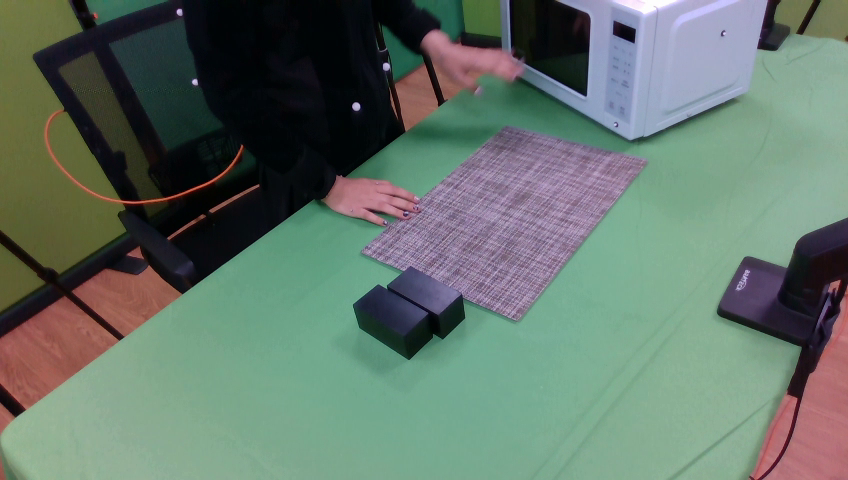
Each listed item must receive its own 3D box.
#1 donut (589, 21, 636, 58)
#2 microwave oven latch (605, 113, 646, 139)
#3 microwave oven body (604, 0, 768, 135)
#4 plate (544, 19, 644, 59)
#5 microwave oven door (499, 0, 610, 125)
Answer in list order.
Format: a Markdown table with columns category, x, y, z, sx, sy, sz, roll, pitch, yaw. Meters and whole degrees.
| category | x | y | z | sx | sy | sz | roll | pitch | yaw |
| --- | --- | --- | --- | --- | --- | --- | --- | --- | --- |
| donut | 0.403 | -0.429 | 1.295 | 0.099 | 0.048 | 0.098 | 1 | 54 | -1 |
| microwave oven latch | 0.375 | -0.217 | 1.130 | 0.030 | 0.029 | 0.078 | -24 | 42 | -16 |
| microwave oven body | 0.411 | -0.441 | 1.235 | 0.327 | 0.261 | 0.437 | -25 | 42 | -16 |
| plate | 0.358 | -0.428 | 1.291 | 0.209 | 0.038 | 0.208 | 1 | 34 | 0 |
| microwave oven door | 0.261 | -0.410 | 1.219 | 0.039 | 0.245 | 0.352 | -24 | 42 | -17 |
